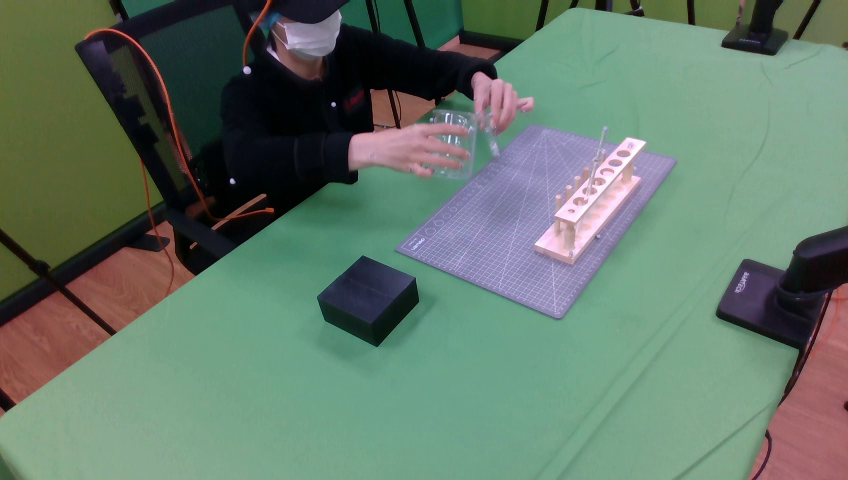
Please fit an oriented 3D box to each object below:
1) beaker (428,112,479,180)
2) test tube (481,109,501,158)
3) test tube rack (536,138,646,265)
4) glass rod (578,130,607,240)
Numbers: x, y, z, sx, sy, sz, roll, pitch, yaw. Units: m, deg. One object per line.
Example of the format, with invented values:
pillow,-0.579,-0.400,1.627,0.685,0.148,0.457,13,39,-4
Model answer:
beaker,0.046,-0.147,0.949,0.073,0.100,0.084,12,13,27
test tube,0.116,-0.180,1.043,0.017,0.151,0.017,-5,69,13
test tube rack,0.268,-0.071,0.964,0.066,0.085,0.243,23,49,32
glass rod,0.240,-0.072,0.866,0.008,0.200,0.008,0,44,1
